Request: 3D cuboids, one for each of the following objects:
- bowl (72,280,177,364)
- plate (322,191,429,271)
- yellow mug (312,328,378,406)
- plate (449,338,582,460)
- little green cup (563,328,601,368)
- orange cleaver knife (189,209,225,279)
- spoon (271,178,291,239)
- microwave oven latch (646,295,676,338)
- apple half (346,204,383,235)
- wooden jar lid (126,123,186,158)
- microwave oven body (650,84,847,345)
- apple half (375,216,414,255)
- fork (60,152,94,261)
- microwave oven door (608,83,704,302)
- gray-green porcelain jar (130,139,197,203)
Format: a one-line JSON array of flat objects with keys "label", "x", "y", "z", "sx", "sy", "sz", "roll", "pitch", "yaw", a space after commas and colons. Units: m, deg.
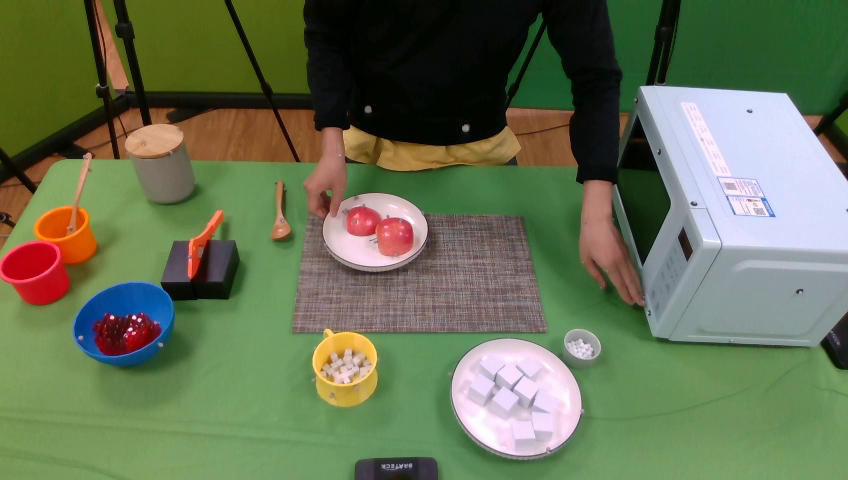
[{"label": "bowl", "x": -0.473, "y": 0.147, "z": 0.982, "sx": 0.151, "sy": 0.077, "sz": 0.150, "roll": 2, "pitch": 46, "yaw": -2}, {"label": "plate", "x": -0.094, "y": -0.015, "z": 1.185, "sx": 0.209, "sy": 0.038, "sz": 0.208, "roll": 2, "pitch": 46, "yaw": -2}, {"label": "yellow mug", "x": -0.132, "y": 0.193, "z": 0.971, "sx": 0.100, "sy": 0.064, "sz": 0.130, "roll": -22, "pitch": 51, "yaw": -22}, {"label": "plate", "x": 0.141, "y": 0.251, "z": 0.956, "sx": 0.208, "sy": 0.039, "sz": 0.206, "roll": 2, "pitch": 46, "yaw": -2}, {"label": "little green cup", "x": 0.265, "y": 0.184, "z": 1.025, "sx": 0.061, "sy": 0.039, "sz": 0.061, "roll": 1, "pitch": 46, "yaw": -1}, {"label": "orange cleaver knife", "x": -0.401, "y": 0.002, "z": 1.122, "sx": 0.012, "sy": 0.077, "sz": 0.210, "roll": 4, "pitch": 23, "yaw": -4}, {"label": "spoon", "x": -0.293, "y": -0.068, "z": 1.237, "sx": 0.041, "sy": 0.022, "sz": 0.192, "roll": -19, "pitch": 48, "yaw": 7}, {"label": "microwave oven latch", "x": 0.413, "y": 0.133, "z": 1.060, "sx": 0.030, "sy": 0.029, "sz": 0.078, "roll": 4, "pitch": 46, "yaw": 1}, {"label": "apple half", "x": -0.119, "y": -0.049, "z": 1.207, "sx": 0.081, "sy": 0.033, "sz": 0.081, "roll": 3, "pitch": 50, "yaw": -3}, {"label": "wooden jar lid", "x": -0.519, "y": -0.190, "z": 1.179, "sx": 0.108, "sy": 0.021, "sz": 0.107, "roll": 2, "pitch": 44, "yaw": -2}, {"label": "microwave oven body", "x": 0.569, "y": -0.054, "z": 1.116, "sx": 0.326, "sy": 0.261, "sz": 0.439, "roll": 2, "pitch": 46, "yaw": -1}, {"label": "apple half", "x": -0.056, "y": -0.017, "z": 1.169, "sx": 0.075, "sy": 0.053, "sz": 0.080, "roll": 0, "pitch": 46, "yaw": -7}, {"label": "fork", "x": -0.638, "y": -0.063, "z": 1.119, "sx": 0.028, "sy": 0.018, "sz": 0.207, "roll": 12, "pitch": 90, "yaw": 7}, {"label": "microwave oven door", "x": 0.424, "y": -0.096, "z": 1.138, "sx": 0.039, "sy": 0.245, "sz": 0.353, "roll": 2, "pitch": 47, "yaw": -1}, {"label": "gray-green porcelain jar", "x": -0.522, "y": -0.148, "z": 1.225, "sx": 0.106, "sy": 0.127, "sz": 0.105, "roll": 2, "pitch": 47, "yaw": -2}]
